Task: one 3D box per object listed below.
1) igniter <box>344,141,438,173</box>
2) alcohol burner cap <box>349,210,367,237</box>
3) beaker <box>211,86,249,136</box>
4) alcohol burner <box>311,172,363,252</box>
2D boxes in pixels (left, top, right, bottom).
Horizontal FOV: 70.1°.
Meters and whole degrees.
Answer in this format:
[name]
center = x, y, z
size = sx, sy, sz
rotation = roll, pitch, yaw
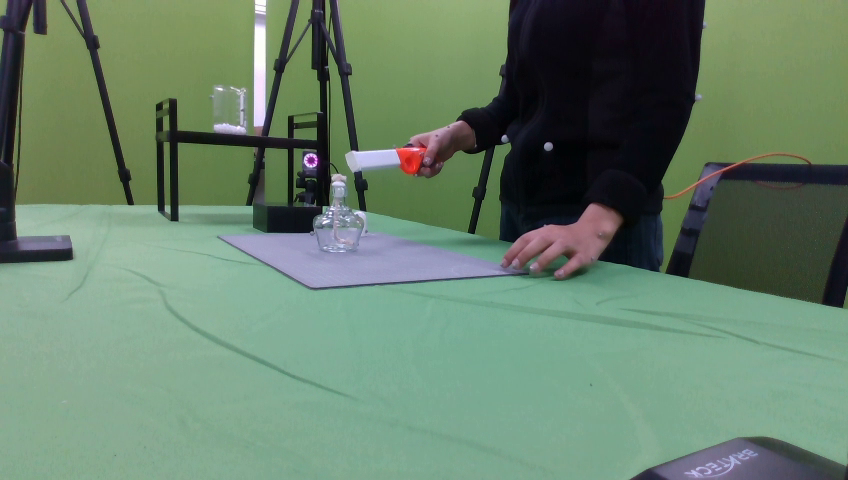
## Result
[igniter]
center = -0.046, -0.141, 1.039
size = 0.025, 0.057, 0.278
rotation = -22, -2, 30
[alcohol burner cap]
center = -0.118, -0.030, 1.095
size = 0.034, 0.048, 0.034
rotation = 2, 8, 0
[beaker]
center = -0.413, -0.274, 1.297
size = 0.074, 0.100, 0.083
rotation = -5, 11, -44
[alcohol burner]
center = -0.130, -0.042, 0.906
size = 0.078, 0.119, 0.078
rotation = 2, 5, 0
